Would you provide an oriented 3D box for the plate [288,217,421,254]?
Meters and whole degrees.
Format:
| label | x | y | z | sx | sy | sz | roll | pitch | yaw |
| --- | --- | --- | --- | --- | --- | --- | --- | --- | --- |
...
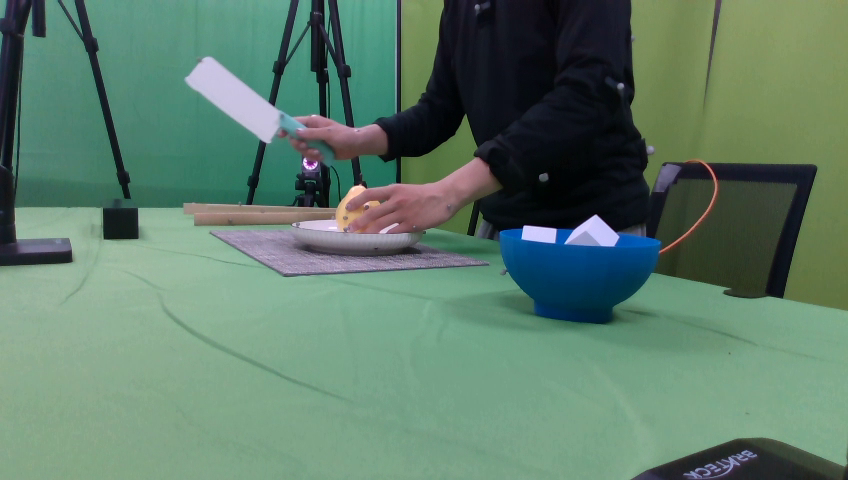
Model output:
| label | x | y | z | sx | sy | sz | roll | pitch | yaw |
| --- | --- | --- | --- | --- | --- | --- | --- | --- | --- |
| plate | -0.109 | -0.008 | 0.956 | 0.208 | 0.039 | 0.207 | 2 | 7 | 0 |

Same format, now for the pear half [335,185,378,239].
| label | x | y | z | sx | sy | sz | roll | pitch | yaw |
| --- | --- | --- | --- | --- | --- | --- | --- | --- | --- |
| pear half | -0.112 | -0.046 | 0.975 | 0.071 | 0.088 | 0.031 | -5 | 12 | -25 |

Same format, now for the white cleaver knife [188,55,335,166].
| label | x | y | z | sx | sy | sz | roll | pitch | yaw |
| --- | --- | --- | --- | --- | --- | --- | --- | --- | --- |
| white cleaver knife | -0.269 | -0.207 | 1.040 | 0.288 | 0.066 | 0.021 | 35 | -9 | -36 |

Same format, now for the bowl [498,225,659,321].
| label | x | y | z | sx | sy | sz | roll | pitch | yaw |
| --- | --- | --- | --- | --- | --- | --- | --- | --- | --- |
| bowl | 0.144 | 0.031 | 0.585 | 0.151 | 0.077 | 0.151 | 2 | 7 | 0 |

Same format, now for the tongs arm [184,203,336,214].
| label | x | y | z | sx | sy | sz | roll | pitch | yaw |
| --- | --- | --- | --- | --- | --- | --- | --- | --- | --- |
| tongs arm | -0.337 | -0.065 | 1.376 | 0.387 | 0.026 | 0.050 | 0 | 9 | -25 |

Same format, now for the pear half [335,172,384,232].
| label | x | y | z | sx | sy | sz | roll | pitch | yaw |
| --- | --- | --- | --- | --- | --- | --- | --- | --- | --- |
| pear half | -0.098 | -0.050 | 0.941 | 0.077 | 0.110 | 0.055 | -7 | 10 | -24 |

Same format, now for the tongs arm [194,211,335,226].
| label | x | y | z | sx | sy | sz | roll | pitch | yaw |
| --- | --- | --- | --- | --- | --- | --- | --- | --- | --- |
| tongs arm | -0.298 | -0.049 | 1.307 | 0.390 | 0.028 | 0.028 | -3 | 8 | -37 |
